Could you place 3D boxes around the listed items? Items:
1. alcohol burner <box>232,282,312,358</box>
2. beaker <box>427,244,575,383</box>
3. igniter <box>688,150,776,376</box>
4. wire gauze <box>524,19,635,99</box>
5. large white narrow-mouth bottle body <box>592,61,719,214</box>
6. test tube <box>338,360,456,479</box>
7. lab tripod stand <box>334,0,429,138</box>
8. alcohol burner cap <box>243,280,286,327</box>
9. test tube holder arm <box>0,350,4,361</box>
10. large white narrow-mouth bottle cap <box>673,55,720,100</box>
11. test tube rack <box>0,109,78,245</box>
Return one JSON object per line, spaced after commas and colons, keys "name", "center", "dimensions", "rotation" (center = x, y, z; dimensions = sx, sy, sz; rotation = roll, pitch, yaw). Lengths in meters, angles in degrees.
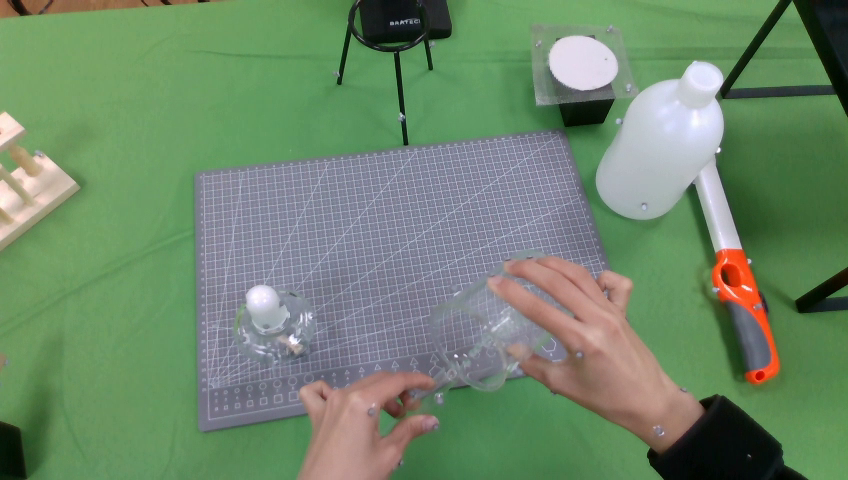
{"name": "alcohol burner", "center": [-0.147, 0.071, 0.579], "dimensions": [0.078, 0.120, 0.077], "rotation": [2, 63, -3]}
{"name": "beaker", "center": [0.063, 0.054, 0.469], "dimensions": [0.100, 0.084, 0.073], "rotation": [-31, 65, -35]}
{"name": "igniter", "center": [0.338, 0.016, 0.679], "dimensions": [0.057, 0.025, 0.274], "rotation": [2, 64, -13]}
{"name": "wire gauze", "center": [0.187, -0.224, 0.742], "dimensions": [0.121, 0.011, 0.124], "rotation": [-1, 64, -3]}
{"name": "large white narrow-mouth bottle body", "center": [0.251, -0.113, 0.643], "dimensions": [0.102, 0.196, 0.101], "rotation": [1, 64, -2]}
{"name": "test tube", "center": [-0.026, 0.149, 0.494], "dimensions": [0.017, 0.017, 0.150], "rotation": [49, 113, 19]}
{"name": "lab tripod stand", "center": [-0.041, -0.216, 0.712], "dimensions": [0.148, 0.132, 0.147], "rotation": [2, 65, -4]}
{"name": "alcohol burner cap", "center": [-0.146, 0.055, 0.546], "dimensions": [0.034, 0.048, 0.033], "rotation": [0, 59, 1]}
{"name": "test tube holder arm", "center": [-0.403, 0.179, 0.519], "dimensions": [0.013, 0.015, 0.177], "rotation": [1, 64, 7]}
{"name": "large white narrow-mouth bottle cap", "center": [0.253, -0.152, 0.566], "dimensions": [0.038, 0.024, 0.037], "rotation": [1, 64, -2]}
{"name": "test tube rack", "center": [-0.497, -0.019, 0.623], "dimensions": [0.066, 0.086, 0.242], "rotation": [38, 68, 14]}
